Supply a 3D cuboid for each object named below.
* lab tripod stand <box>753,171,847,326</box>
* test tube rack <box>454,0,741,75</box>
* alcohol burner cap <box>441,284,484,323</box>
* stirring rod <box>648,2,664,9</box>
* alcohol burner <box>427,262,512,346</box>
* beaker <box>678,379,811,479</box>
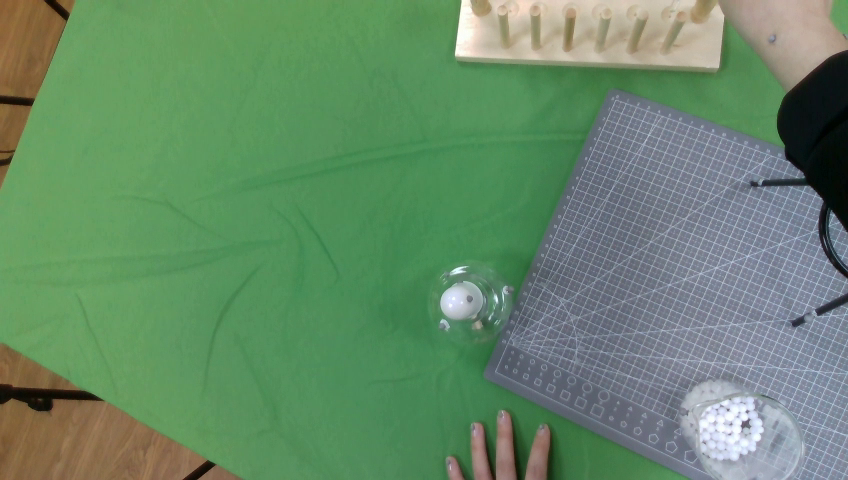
[{"bbox_3d":[0.326,-0.001,0.461,0.148,0.132,0.148,-1,87,12],"label":"lab tripod stand"},{"bbox_3d":[0.143,-0.199,0.543,0.241,0.085,0.066,6,87,13],"label":"test tube rack"},{"bbox_3d":[0.030,0.053,0.500,0.034,0.048,0.034,0,89,14],"label":"alcohol burner cap"},{"bbox_3d":[0.197,-0.222,0.426,0.006,0.177,0.014,-42,80,-12],"label":"stirring rod"},{"bbox_3d":[0.038,0.056,0.535,0.078,0.119,0.077,-1,84,11],"label":"alcohol burner"},{"bbox_3d":[0.246,0.151,0.486,0.083,0.101,0.074,30,92,14],"label":"beaker"}]
